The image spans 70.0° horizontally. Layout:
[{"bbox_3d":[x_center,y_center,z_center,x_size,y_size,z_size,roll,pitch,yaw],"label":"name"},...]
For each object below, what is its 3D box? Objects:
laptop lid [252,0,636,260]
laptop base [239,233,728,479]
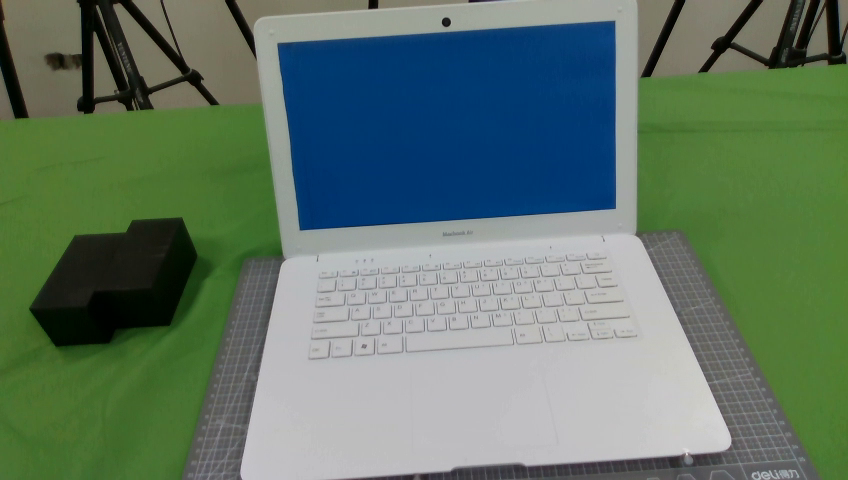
[{"bbox_3d":[0.025,-0.101,0.578,0.357,0.242,0.013,-6,13,0],"label":"laptop lid"},{"bbox_3d":[0.038,0.088,0.516,0.354,0.023,0.233,-4,44,0],"label":"laptop base"}]
